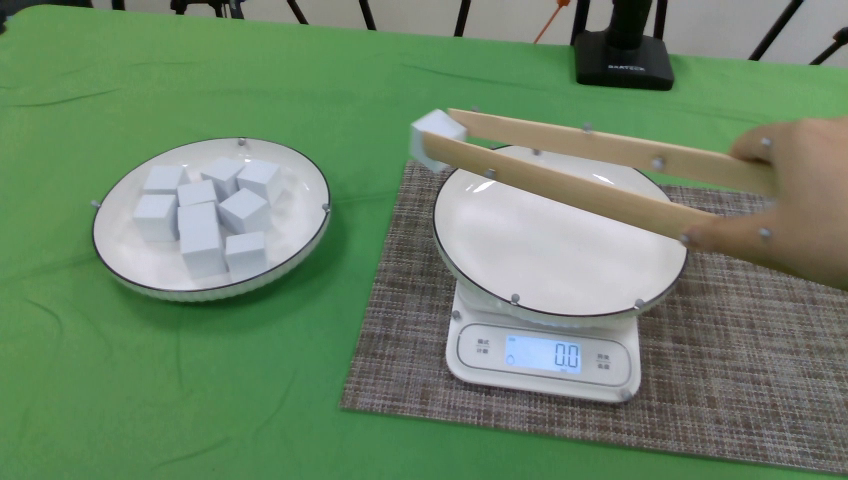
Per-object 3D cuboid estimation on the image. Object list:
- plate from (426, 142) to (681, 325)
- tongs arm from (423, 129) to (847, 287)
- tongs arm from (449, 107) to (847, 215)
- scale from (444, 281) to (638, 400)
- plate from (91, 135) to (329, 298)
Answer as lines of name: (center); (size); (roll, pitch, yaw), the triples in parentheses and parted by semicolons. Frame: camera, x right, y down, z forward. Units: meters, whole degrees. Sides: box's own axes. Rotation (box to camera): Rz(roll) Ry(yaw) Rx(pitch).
plate: (0.105, -0.008, 0.511); (0.208, 0.039, 0.205); (2, 46, -1)
tongs arm: (0.150, -0.019, 0.360); (0.384, 0.028, 0.028); (21, 50, 35)
tongs arm: (0.165, -0.034, 0.371); (0.382, 0.027, 0.050); (17, 51, 32)
scale: (0.101, 0.035, 0.515); (0.148, 0.032, 0.199); (7, 47, 6)
plate: (-0.192, -0.023, 0.564); (0.209, 0.038, 0.207); (1, 46, -1)
